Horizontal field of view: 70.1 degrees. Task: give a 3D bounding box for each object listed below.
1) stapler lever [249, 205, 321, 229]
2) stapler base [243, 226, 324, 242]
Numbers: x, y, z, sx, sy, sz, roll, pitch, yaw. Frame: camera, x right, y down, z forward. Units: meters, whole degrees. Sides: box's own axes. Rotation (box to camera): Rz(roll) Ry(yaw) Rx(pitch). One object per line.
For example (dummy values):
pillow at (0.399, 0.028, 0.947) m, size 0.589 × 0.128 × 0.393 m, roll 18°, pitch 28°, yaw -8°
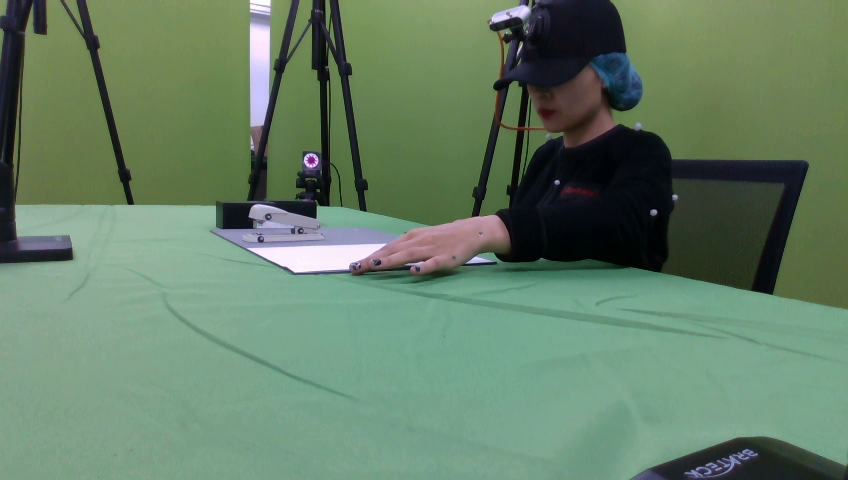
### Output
stapler lever at (-0.228, -0.037, 0.994) m, size 0.119 × 0.040 × 0.026 m, roll -1°, pitch 10°, yaw -36°
stapler base at (-0.230, -0.012, 0.996) m, size 0.131 × 0.024 × 0.041 m, roll -1°, pitch 10°, yaw -36°
